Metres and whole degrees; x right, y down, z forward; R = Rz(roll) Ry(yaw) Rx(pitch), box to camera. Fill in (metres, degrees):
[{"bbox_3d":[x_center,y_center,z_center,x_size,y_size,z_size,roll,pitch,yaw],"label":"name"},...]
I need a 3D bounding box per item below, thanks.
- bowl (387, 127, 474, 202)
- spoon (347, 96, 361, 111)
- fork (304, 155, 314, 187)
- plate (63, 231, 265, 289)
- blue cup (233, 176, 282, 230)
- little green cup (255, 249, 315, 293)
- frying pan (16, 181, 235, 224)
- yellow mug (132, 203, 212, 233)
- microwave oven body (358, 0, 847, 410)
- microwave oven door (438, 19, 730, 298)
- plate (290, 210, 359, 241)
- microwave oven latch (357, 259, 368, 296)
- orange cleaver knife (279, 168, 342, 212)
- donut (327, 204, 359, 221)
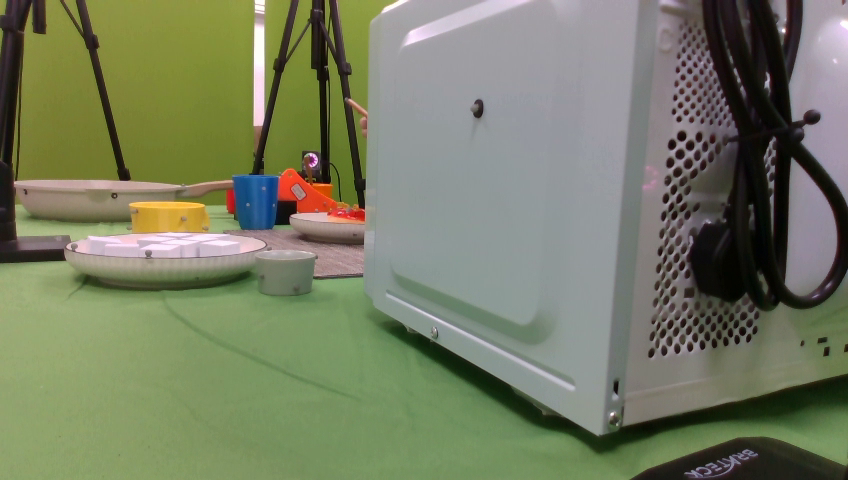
[{"bbox_3d":[0.017,-0.115,1.009,0.151,0.076,0.151,-10,-21,-3],"label":"bowl"},{"bbox_3d":[-0.070,-0.196,1.077,0.193,0.021,0.042,47,26,12],"label":"spoon"},{"bbox_3d":[-0.268,-0.134,1.446,0.028,0.018,0.207,2,-36,-1],"label":"fork"},{"bbox_3d":[-0.288,0.021,0.687,0.208,0.039,0.207,2,8,0],"label":"plate"},{"bbox_3d":[-0.314,-0.071,1.141,0.093,0.100,0.092,0,7,0],"label":"blue cup"},{"bbox_3d":[-0.144,0.031,0.627,0.061,0.038,0.061,2,6,0],"label":"little green cup"},{"bbox_3d":[-0.554,-0.097,1.266,0.490,0.102,0.305,-10,13,-24],"label":"frying pan"},{"bbox_3d":[-0.356,-0.020,0.878,0.099,0.064,0.131,4,7,22],"label":"yellow mug"},{"bbox_3d":[0.210,-0.051,0.471,0.444,0.260,0.324,-1,7,-28],"label":"microwave oven body"},{"bbox_3d":[0.181,-0.076,0.618,0.358,0.243,0.039,-2,8,-28],"label":"microwave oven door"},{"bbox_3d":[-0.127,-0.026,1.051,0.209,0.038,0.209,3,7,0],"label":"plate"},{"bbox_3d":[-0.019,0.031,0.528,0.079,0.029,0.030,-1,7,-25],"label":"microwave oven latch"},{"bbox_3d":[-0.236,-0.084,1.332,0.212,0.077,0.012,31,-9,-31],"label":"orange cleaver knife"},{"bbox_3d":[-0.120,-0.037,1.056,0.099,0.048,0.099,5,6,0],"label":"donut"}]
